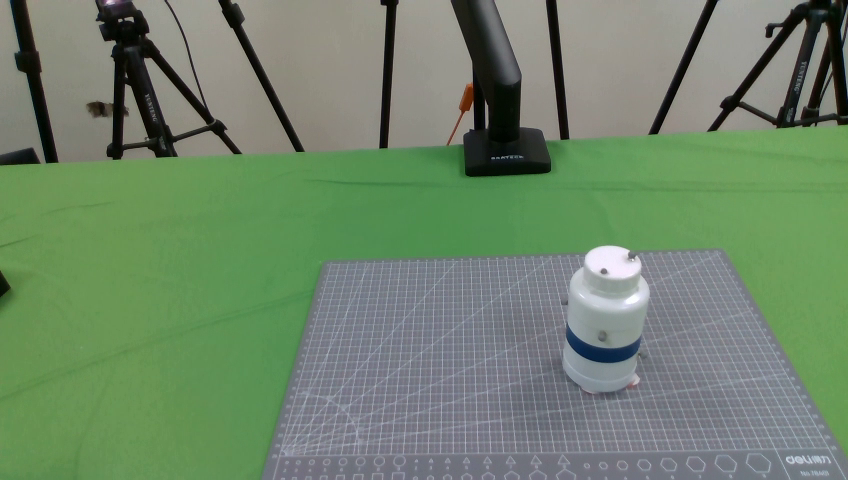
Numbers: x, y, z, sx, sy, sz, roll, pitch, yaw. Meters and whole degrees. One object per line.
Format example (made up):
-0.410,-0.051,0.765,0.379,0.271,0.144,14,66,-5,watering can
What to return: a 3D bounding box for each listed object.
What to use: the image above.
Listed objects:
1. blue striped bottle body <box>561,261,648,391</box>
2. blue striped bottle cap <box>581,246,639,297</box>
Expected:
0.152,0.065,0.511,0.063,0.122,0.062,-3,36,2,blue striped bottle body
0.148,0.024,0.481,0.044,0.021,0.044,-2,36,2,blue striped bottle cap
